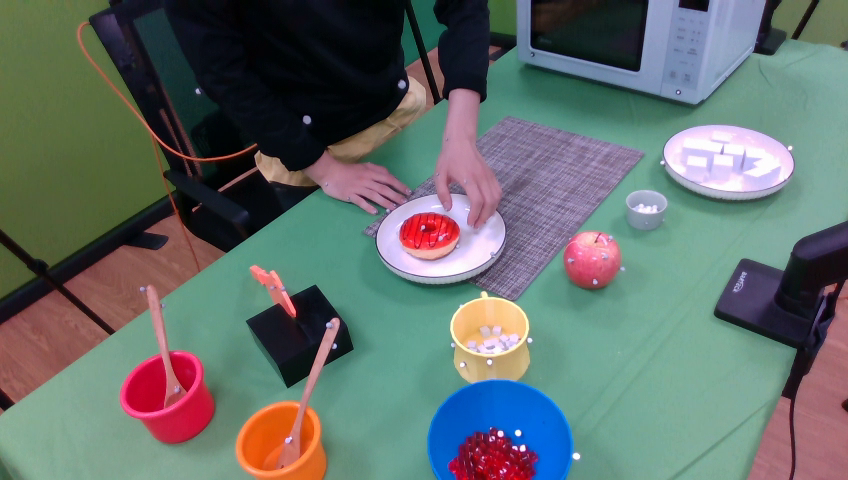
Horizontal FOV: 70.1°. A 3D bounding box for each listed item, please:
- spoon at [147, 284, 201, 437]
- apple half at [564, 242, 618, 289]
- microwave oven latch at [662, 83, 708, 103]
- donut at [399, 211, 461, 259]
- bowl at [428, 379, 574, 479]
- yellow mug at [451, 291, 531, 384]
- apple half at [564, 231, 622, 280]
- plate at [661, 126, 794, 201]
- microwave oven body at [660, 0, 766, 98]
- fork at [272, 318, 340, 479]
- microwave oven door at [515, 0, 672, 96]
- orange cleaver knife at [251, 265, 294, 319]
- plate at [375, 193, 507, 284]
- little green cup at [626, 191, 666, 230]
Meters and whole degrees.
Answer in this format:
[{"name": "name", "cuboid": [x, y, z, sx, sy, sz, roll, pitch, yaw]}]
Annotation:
[{"name": "spoon", "cuboid": [-0.318, 0.148, 0.754, 0.042, 0.021, 0.193, -15, 86, -6]}, {"name": "apple half", "cuboid": [0.229, 0.044, 0.848, 0.081, 0.081, 0.033, 16, 41, 26]}, {"name": "microwave oven latch", "cuboid": [0.518, -0.297, 1.205, 0.078, 0.029, 0.030, 29, 53, 36]}, {"name": "donut", "cuboid": [0.009, -0.009, 0.948, 0.099, 0.048, 0.098, -4, 39, 4]}, {"name": "bowl", "cuboid": [0.082, 0.233, 0.644, 0.151, 0.077, 0.150, -4, 39, 4]}, {"name": "yellow mug", "cuboid": [0.085, 0.120, 0.786, 0.100, 0.064, 0.130, -7, 39, 1]}, {"name": "apple half", "cuboid": [0.248, 0.021, 0.874, 0.080, 0.075, 0.053, 13, 40, 29]}, {"name": "plate", "cuboid": [0.514, -0.128, 1.035, 0.207, 0.039, 0.206, -4, 40, 4]}, {"name": "microwave oven body", "cuboid": [0.473, -0.513, 1.317, 0.438, 0.261, 0.327, 26, 51, 34]}, {"name": "fork", "cuboid": [-0.131, 0.186, 0.676, 0.028, 0.019, 0.207, 17, 90, 28]}, {"name": "microwave oven door", "cuboid": [0.344, -0.455, 1.259, 0.353, 0.245, 0.039, 26, 51, 33]}, {"name": "orange cleaver knife", "cuboid": [-0.221, 0.073, 0.876, 0.012, 0.077, 0.210, -23, 12, -22]}, {"name": "plate", "cuboid": [0.028, 0.000, 0.952, 0.209, 0.038, 0.208, -4, 40, 4]}, {"name": "little green cup", "cuboid": [0.352, -0.046, 0.963, 0.061, 0.039, 0.061, -4, 40, 4]}]
